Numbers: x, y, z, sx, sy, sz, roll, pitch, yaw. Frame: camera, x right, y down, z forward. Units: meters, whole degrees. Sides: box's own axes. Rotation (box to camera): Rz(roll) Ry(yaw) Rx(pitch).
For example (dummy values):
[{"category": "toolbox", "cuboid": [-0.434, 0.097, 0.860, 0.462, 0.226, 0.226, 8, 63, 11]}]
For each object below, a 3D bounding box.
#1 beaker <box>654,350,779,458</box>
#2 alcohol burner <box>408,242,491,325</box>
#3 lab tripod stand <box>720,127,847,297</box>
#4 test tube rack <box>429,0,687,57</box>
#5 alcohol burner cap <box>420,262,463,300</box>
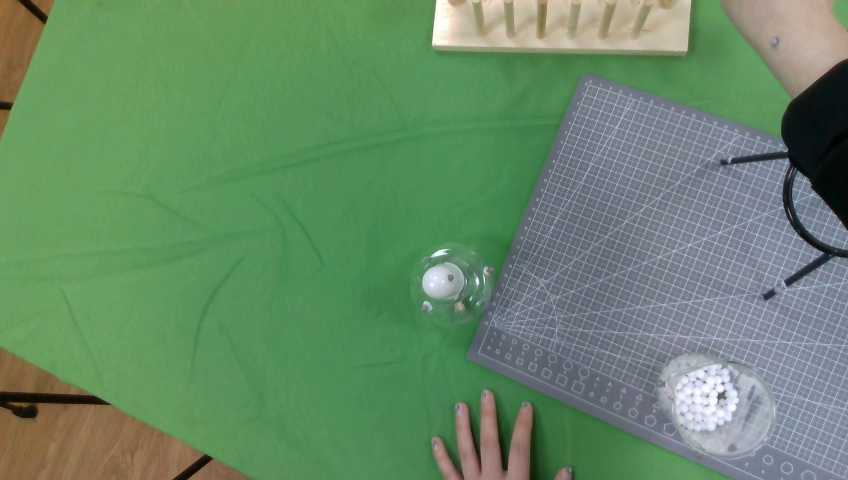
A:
[{"category": "beaker", "cuboid": [0.232, 0.129, 0.503, 0.083, 0.100, 0.074, 29, 91, 13]}, {"category": "alcohol burner", "cuboid": [0.021, 0.039, 0.546, 0.078, 0.119, 0.077, -1, 84, 10]}, {"category": "lab tripod stand", "cuboid": [0.309, -0.025, 0.480, 0.148, 0.132, 0.148, 0, 87, 10]}, {"category": "test tube rack", "cuboid": [0.120, -0.219, 0.558, 0.242, 0.085, 0.066, 5, 86, 11]}, {"category": "alcohol burner cap", "cuboid": [0.013, 0.035, 0.511, 0.034, 0.048, 0.034, 0, 89, 12]}]
